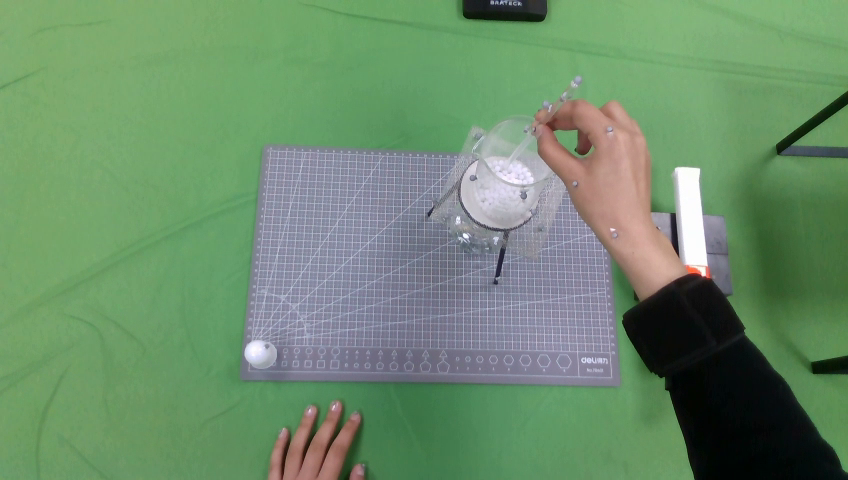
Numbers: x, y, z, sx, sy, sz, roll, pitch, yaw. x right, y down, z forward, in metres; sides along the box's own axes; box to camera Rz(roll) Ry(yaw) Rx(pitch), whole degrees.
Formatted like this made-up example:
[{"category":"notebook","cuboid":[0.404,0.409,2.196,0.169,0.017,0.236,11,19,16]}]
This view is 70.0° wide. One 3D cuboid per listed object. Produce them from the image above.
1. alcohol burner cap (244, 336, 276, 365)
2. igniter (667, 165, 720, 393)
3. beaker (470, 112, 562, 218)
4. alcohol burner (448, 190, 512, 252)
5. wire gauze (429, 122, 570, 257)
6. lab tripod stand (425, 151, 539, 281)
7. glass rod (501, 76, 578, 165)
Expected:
[{"category":"alcohol burner cap","cuboid":[-0.189,0.124,0.691,0.034,0.048,0.033,1,74,-5]},{"category":"igniter","cuboid":[0.314,0.040,0.715,0.057,0.025,0.275,4,72,0]},{"category":"beaker","cuboid":[0.083,-0.069,0.601,0.084,0.101,0.073,2,72,-3]},{"category":"alcohol burner","cuboid":[0.069,-0.028,0.717,0.078,0.119,0.077,1,75,-3]},{"category":"wire gauze","cuboid":[0.083,-0.055,0.648,0.121,0.011,0.124,24,70,1]},{"category":"lab tripod stand","cuboid":[0.077,-0.039,0.711,0.148,0.132,0.147,1,71,-3]},{"category":"glass rod","cuboid":[0.098,-0.101,0.547,0.008,0.200,0.008,2,79,-8]}]
